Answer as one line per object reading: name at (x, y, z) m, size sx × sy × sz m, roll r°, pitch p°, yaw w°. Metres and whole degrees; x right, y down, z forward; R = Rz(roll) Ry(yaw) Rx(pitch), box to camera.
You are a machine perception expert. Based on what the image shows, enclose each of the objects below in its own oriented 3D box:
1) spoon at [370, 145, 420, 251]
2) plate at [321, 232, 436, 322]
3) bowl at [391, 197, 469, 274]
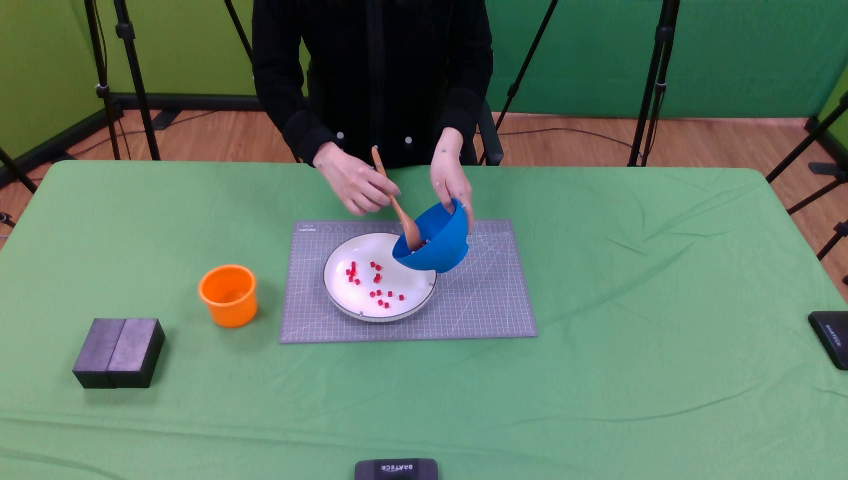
spoon at (-0.050, -0.069, 1.019) m, size 0.021 × 0.194 × 0.041 m, roll -13°, pitch 21°, yaw 40°
plate at (-0.083, 0.070, 1.109) m, size 0.209 × 0.038 × 0.208 m, roll 3°, pitch 46°, yaw -2°
bowl at (0.024, 0.004, 1.043) m, size 0.077 × 0.151 × 0.151 m, roll 48°, pitch 47°, yaw -18°
